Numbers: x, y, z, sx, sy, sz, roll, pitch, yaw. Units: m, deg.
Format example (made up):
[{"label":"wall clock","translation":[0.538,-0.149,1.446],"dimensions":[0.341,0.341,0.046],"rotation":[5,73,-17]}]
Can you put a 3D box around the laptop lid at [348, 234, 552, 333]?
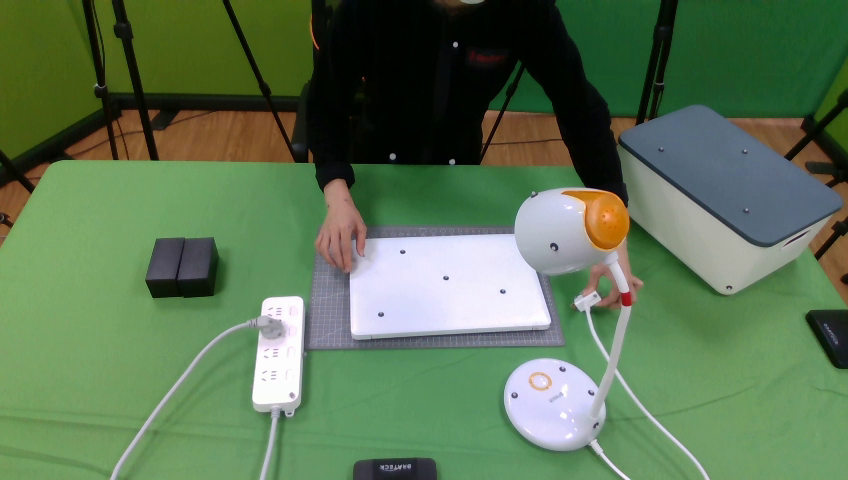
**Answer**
[{"label":"laptop lid","translation":[0.039,0.072,1.117],"dimensions":[0.357,0.013,0.240],"rotation":[-1,44,-5]}]

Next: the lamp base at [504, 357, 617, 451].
[{"label":"lamp base","translation":[0.220,0.211,0.903],"dimensions":[0.160,0.181,0.178],"rotation":[-33,59,-30]}]

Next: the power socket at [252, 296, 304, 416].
[{"label":"power socket","translation":[-0.238,0.181,0.997],"dimensions":[0.072,0.033,0.225],"rotation":[-3,47,-5]}]

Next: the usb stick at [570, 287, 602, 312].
[{"label":"usb stick","translation":[0.291,0.110,1.095],"dimensions":[0.021,0.059,0.027],"rotation":[52,25,-8]}]

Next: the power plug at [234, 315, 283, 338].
[{"label":"power plug","translation":[-0.269,0.144,1.000],"dimensions":[0.072,0.053,0.035],"rotation":[4,46,3]}]

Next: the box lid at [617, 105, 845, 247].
[{"label":"box lid","translation":[0.586,-0.138,1.176],"dimensions":[0.263,0.015,0.369],"rotation":[-22,51,-23]}]

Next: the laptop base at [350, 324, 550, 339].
[{"label":"laptop base","translation":[0.038,0.082,1.124],"dimensions":[0.355,0.023,0.234],"rotation":[-2,43,-7]}]

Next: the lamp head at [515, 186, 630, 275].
[{"label":"lamp head","translation":[0.188,-0.013,0.728],"dimensions":[0.112,0.112,0.122],"rotation":[-25,9,-25]}]

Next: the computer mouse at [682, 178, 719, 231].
[{"label":"computer mouse","translation":[0.596,-0.078,1.290],"dimensions":[0.117,0.041,0.062],"rotation":[56,45,-7]}]

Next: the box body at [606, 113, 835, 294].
[{"label":"box body","translation":[0.582,-0.089,1.230],"dimensions":[0.254,0.161,0.361],"rotation":[-22,52,-23]}]
